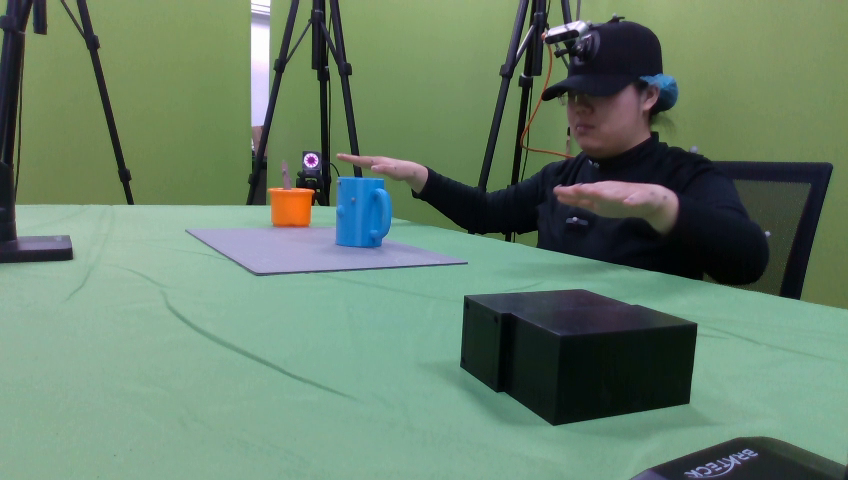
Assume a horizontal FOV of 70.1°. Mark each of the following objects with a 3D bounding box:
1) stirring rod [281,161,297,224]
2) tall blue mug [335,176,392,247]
[{"bbox_3d":[-0.278,-0.099,1.239,0.014,0.006,0.175,2,49,-25],"label":"stirring rod"},{"bbox_3d":[-0.089,-0.046,0.971,0.107,0.108,0.078,5,7,20],"label":"tall blue mug"}]
